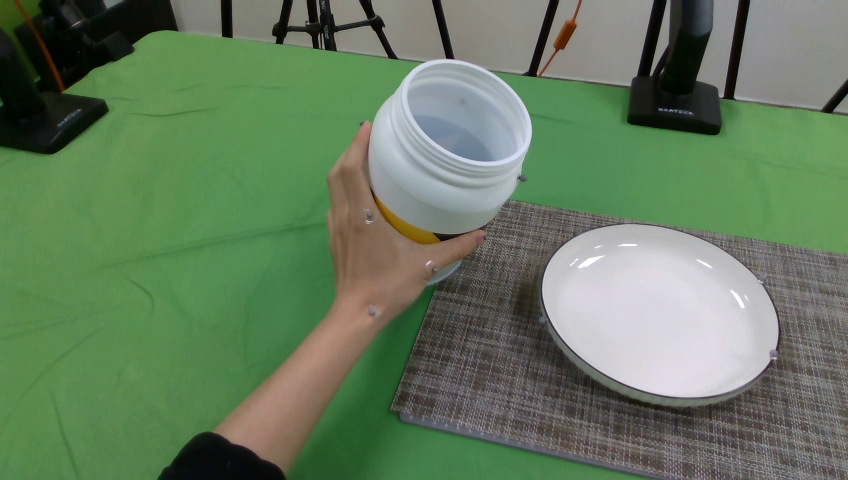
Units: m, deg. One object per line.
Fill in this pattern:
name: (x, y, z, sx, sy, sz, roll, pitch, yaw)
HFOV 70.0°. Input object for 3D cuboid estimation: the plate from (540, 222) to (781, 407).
plate: (0.209, 0.065, 0.555, 0.208, 0.039, 0.205, 0, 43, 1)

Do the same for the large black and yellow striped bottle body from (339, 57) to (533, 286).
large black and yellow striped bottle body: (0.007, -0.054, 0.533, 0.131, 0.185, 0.129, 10, 56, -16)
